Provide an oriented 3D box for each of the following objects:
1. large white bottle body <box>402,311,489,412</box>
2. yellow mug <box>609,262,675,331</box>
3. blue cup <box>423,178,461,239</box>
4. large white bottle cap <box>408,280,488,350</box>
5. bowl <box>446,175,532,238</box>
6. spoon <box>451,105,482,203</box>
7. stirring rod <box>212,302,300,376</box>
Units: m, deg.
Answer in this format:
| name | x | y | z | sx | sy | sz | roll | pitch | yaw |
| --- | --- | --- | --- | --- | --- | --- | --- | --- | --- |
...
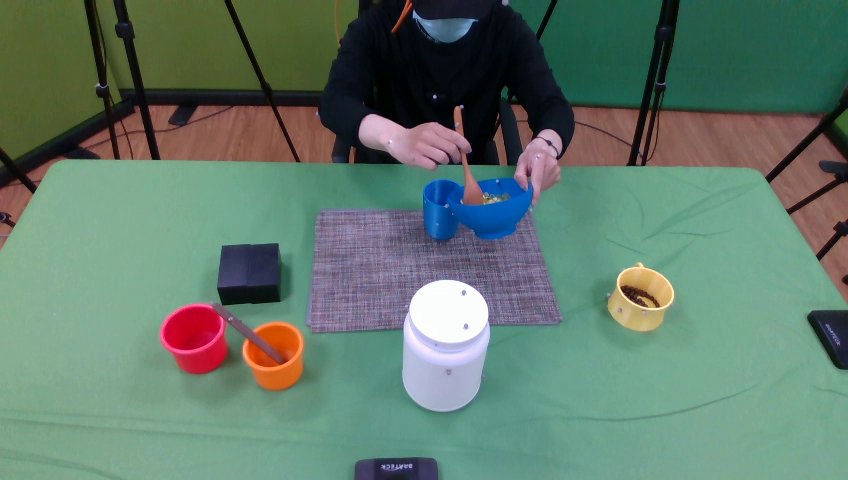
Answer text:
| name | x | y | z | sx | sy | sz | roll | pitch | yaw |
| --- | --- | --- | --- | --- | --- | --- | --- | --- | --- |
| large white bottle body | 0.031 | 0.163 | 0.928 | 0.131 | 0.185 | 0.130 | 2 | 46 | -1 |
| yellow mug | 0.393 | 0.093 | 1.103 | 0.100 | 0.064 | 0.130 | 7 | 45 | 3 |
| blue cup | 0.036 | -0.056 | 1.192 | 0.093 | 0.101 | 0.092 | 3 | 45 | -3 |
| large white bottle cap | 0.034 | 0.105 | 0.867 | 0.115 | 0.018 | 0.114 | 2 | 46 | -1 |
| bowl | 0.119 | -0.053 | 1.061 | 0.151 | 0.077 | 0.151 | -10 | 20 | 4 |
| spoon | 0.068 | -0.139 | 1.052 | 0.041 | 0.194 | 0.021 | -20 | 22 | -15 |
| stirring rod | -0.261 | 0.156 | 0.948 | 0.177 | 0.006 | 0.014 | 46 | 45 | -20 |
